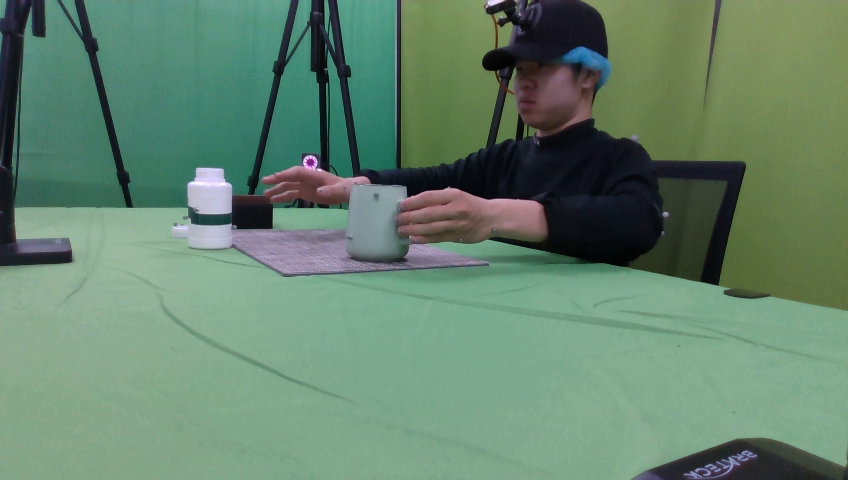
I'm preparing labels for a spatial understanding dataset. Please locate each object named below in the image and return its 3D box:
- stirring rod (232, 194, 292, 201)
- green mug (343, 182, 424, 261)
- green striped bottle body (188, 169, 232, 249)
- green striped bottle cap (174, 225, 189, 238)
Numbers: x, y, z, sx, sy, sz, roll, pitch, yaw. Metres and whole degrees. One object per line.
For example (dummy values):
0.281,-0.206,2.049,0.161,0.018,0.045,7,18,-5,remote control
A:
-0.353,-0.086,1.216,0.177,0.014,0.006,-1,12,-27,stirring rod
-0.053,-0.026,0.849,0.125,0.105,0.093,7,9,33,green mug
-0.324,-0.049,0.919,0.063,0.119,0.063,2,8,0,green striped bottle body
-0.404,-0.015,1.036,0.044,0.020,0.044,-2,8,1,green striped bottle cap
